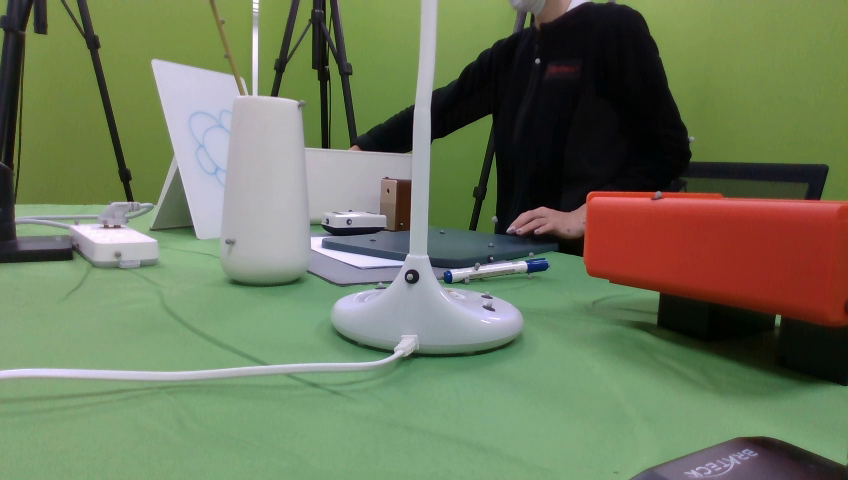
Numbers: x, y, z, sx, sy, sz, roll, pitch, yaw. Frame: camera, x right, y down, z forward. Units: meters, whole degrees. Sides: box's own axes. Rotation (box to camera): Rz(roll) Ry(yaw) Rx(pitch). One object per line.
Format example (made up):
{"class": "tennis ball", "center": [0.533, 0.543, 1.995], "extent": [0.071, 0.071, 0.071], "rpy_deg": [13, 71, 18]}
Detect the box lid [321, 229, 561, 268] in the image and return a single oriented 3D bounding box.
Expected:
{"class": "box lid", "center": [0.040, 0.008, 0.996], "extent": [0.262, 0.015, 0.373], "rpy_deg": [7, 8, 34]}

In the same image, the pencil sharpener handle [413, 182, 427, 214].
{"class": "pencil sharpener handle", "center": [-0.003, -0.086, 1.254], "extent": [0.031, 0.067, 0.036], "rpy_deg": [-2, 21, -37]}

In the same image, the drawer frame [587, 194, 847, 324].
{"class": "drawer frame", "center": [0.285, 0.004, 0.509], "extent": [0.203, 0.082, 0.212], "rpy_deg": [-1, 6, -29]}

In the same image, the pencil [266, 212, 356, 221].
{"class": "pencil", "center": [-0.245, -0.050, 1.320], "extent": [0.195, 0.012, 0.012], "rpy_deg": [3, 7, -13]}

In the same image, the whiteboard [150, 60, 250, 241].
{"class": "whiteboard", "center": [-0.408, -0.139, 1.093], "extent": [0.143, 0.305, 0.218], "rpy_deg": [-15, -1, 26]}

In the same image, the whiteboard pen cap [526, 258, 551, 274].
{"class": "whiteboard pen cap", "center": [0.141, 0.033, 0.759], "extent": [0.033, 0.018, 0.018], "rpy_deg": [-8, 11, -26]}

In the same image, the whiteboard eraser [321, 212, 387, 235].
{"class": "whiteboard eraser", "center": [-0.128, -0.031, 1.108], "extent": [0.113, 0.042, 0.055], "rpy_deg": [-3, 7, -38]}

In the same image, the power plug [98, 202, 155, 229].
{"class": "power plug", "center": [-0.416, -0.027, 0.848], "extent": [0.073, 0.052, 0.035], "rpy_deg": [0, 8, -28]}

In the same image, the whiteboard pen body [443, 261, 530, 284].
{"class": "whiteboard pen body", "center": [0.087, 0.037, 0.734], "extent": [0.141, 0.017, 0.017], "rpy_deg": [-6, 10, -27]}

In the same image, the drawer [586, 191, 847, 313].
{"class": "drawer", "center": [0.281, 0.001, 0.513], "extent": [0.195, 0.073, 0.210], "rpy_deg": [-1, 8, -29]}

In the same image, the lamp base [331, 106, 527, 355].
{"class": "lamp base", "center": [0.006, -0.012, 0.478], "extent": [0.161, 0.180, 0.179], "rpy_deg": [2, 10, 2]}

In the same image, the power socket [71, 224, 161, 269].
{"class": "power socket", "center": [-0.408, 0.004, 0.793], "extent": [0.072, 0.032, 0.225], "rpy_deg": [-2, 8, -38]}

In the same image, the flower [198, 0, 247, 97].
{"class": "flower", "center": [-0.187, -0.133, 0.648], "extent": [0.038, 0.362, 0.044], "rpy_deg": [0, 22, 43]}

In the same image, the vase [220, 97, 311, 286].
{"class": "vase", "center": [-0.172, -0.052, 0.662], "extent": [0.098, 0.200, 0.098], "rpy_deg": [3, 9, 0]}

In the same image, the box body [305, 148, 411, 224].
{"class": "box body", "center": [-0.230, -0.126, 1.371], "extent": [0.366, 0.160, 0.253], "rpy_deg": [-2, 8, -33]}

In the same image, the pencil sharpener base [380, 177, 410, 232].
{"class": "pencil sharpener base", "center": [-0.042, -0.071, 1.222], "extent": [0.077, 0.107, 0.061], "rpy_deg": [-2, 8, -37]}
